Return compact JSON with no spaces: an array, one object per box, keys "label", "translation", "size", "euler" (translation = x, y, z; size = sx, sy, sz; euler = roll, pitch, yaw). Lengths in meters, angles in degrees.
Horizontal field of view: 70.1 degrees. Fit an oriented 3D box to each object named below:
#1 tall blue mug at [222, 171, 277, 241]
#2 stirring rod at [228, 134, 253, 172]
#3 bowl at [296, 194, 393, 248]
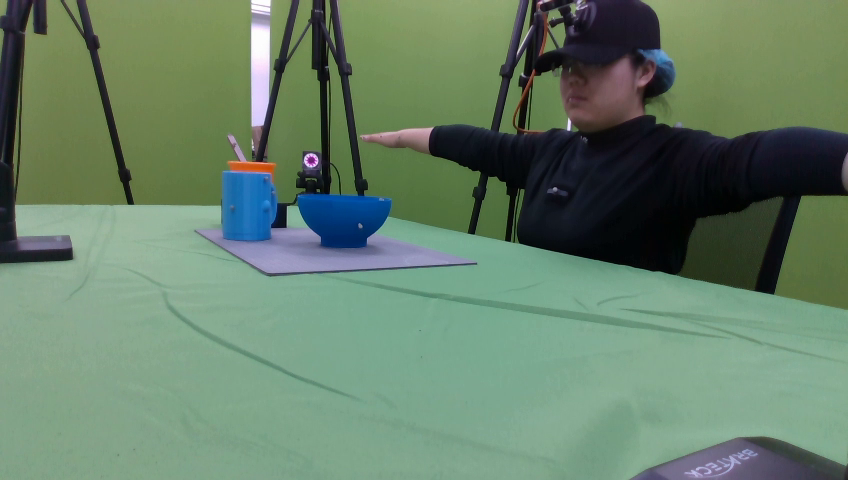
[{"label":"tall blue mug","translation":[-0.290,-0.059,1.003],"size":[0.078,0.108,0.107],"euler":[1,7,-6]},{"label":"stirring rod","translation":[-0.353,-0.148,1.197],"size":[0.014,0.006,0.175],"euler":[-3,51,-46]},{"label":"bowl","translation":[-0.128,-0.030,0.964],"size":[0.151,0.077,0.151],"euler":[2,7,0]}]
